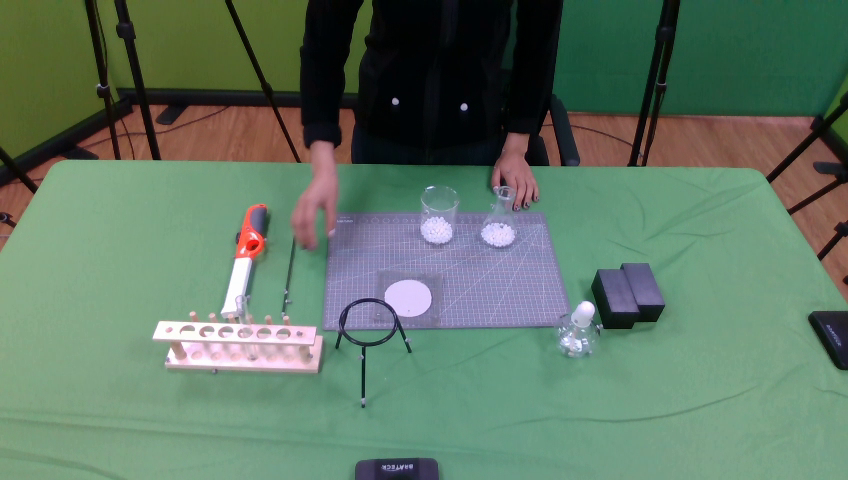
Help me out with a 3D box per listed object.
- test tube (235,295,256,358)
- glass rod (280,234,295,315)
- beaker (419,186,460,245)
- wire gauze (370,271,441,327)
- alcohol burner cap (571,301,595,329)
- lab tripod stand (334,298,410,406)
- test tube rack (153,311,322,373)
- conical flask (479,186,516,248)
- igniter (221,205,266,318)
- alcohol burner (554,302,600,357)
[{"bbox_3d":[-0.274,0.136,0.933,0.017,0.151,0.017,4,46,-4],"label":"test tube"},{"bbox_3d":[-0.253,0.060,1.131,0.008,0.008,0.198,0,46,-4],"label":"glass rod"},{"bbox_3d":[0.025,-0.047,1.190,0.074,0.101,0.083,-29,54,-28],"label":"beaker"},{"bbox_3d":[-0.032,0.103,1.105,0.125,0.011,0.121,4,46,3],"label":"wire gauze"},{"bbox_3d":[0.262,0.120,0.991,0.034,0.048,0.033,1,52,-2],"label":"alcohol burner cap"},{"bbox_3d":[-0.086,0.164,0.957,0.148,0.132,0.147,3,44,-2],"label":"lab tripod stand"},{"bbox_3d":[-0.293,0.160,0.978,0.242,0.085,0.066,3,46,-2],"label":"test tube rack"},{"bbox_3d":[0.150,-0.049,1.186,0.075,0.122,0.075,2,46,-2],"label":"conical flask"},{"bbox_3d":[-0.337,0.030,1.140,0.057,0.025,0.274,-6,46,3],"label":"igniter"},{"bbox_3d":[0.260,0.143,1.018,0.078,0.119,0.077,3,45,-3],"label":"alcohol burner"}]
